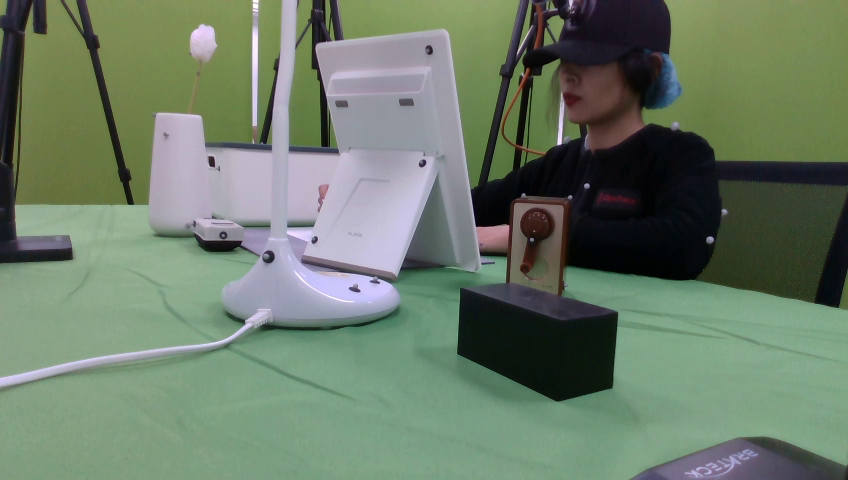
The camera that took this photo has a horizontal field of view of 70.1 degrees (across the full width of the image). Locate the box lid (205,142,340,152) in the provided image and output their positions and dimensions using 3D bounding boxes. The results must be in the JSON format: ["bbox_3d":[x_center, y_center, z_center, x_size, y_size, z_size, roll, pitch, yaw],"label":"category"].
[{"bbox_3d":[-0.270,-0.195,1.310,0.373,0.015,0.262,-2,9,-30],"label":"box lid"}]

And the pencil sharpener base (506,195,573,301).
[{"bbox_3d":[0.127,0.007,0.663,0.061,0.107,0.077,5,8,15],"label":"pencil sharpener base"}]

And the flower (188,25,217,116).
[{"bbox_3d":[-0.394,-0.189,1.011,0.044,0.361,0.038,-1,-13,27],"label":"flower"}]

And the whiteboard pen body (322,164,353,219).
[{"bbox_3d":[-0.156,-0.087,1.082,0.017,0.017,0.141,5,47,17],"label":"whiteboard pen body"}]

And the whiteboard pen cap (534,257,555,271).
[{"bbox_3d":[0.167,0.033,0.839,0.018,0.018,0.033,-1,6,-23],"label":"whiteboard pen cap"}]

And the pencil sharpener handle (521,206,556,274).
[{"bbox_3d":[0.112,0.000,0.613,0.036,0.067,0.031,13,10,14],"label":"pencil sharpener handle"}]

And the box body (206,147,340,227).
[{"bbox_3d":[-0.276,-0.122,1.320,0.366,0.160,0.253,-2,9,-30],"label":"box body"}]

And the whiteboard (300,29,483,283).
[{"bbox_3d":[-0.074,-0.082,0.742,0.216,0.305,0.144,9,29,38],"label":"whiteboard"}]

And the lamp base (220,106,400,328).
[{"bbox_3d":[-0.101,-0.023,0.531,0.160,0.180,0.179,4,10,10],"label":"lamp base"}]

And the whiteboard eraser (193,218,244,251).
[{"bbox_3d":[-0.307,-0.009,0.900,0.056,0.042,0.112,-3,10,-29],"label":"whiteboard eraser"}]

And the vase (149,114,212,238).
[{"bbox_3d":[-0.405,-0.106,1.005,0.098,0.200,0.098,2,6,0],"label":"vase"}]
